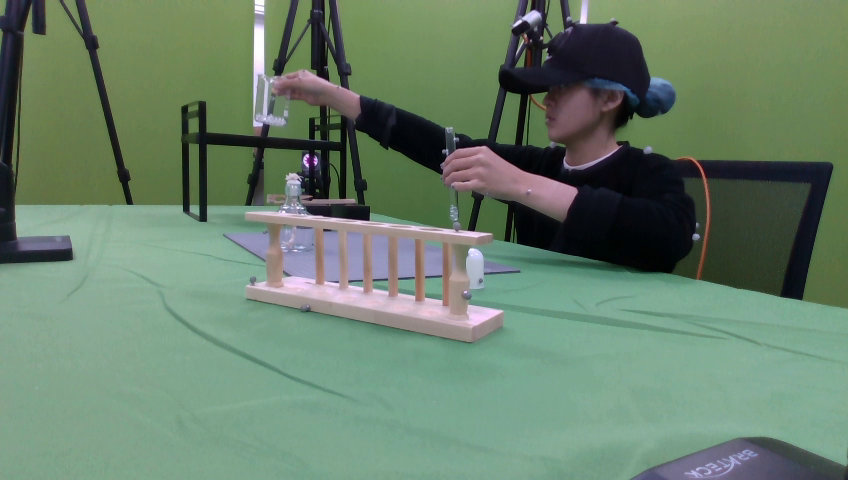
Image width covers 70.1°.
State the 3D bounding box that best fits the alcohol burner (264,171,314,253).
[{"bbox_3d":[-0.194,-0.042,0.888,0.078,0.119,0.078,3,5,0],"label":"alcohol burner"}]

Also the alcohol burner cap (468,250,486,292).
[{"bbox_3d":[0.056,0.035,0.690,0.034,0.048,0.034,2,7,0],"label":"alcohol burner cap"}]

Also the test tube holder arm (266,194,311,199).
[{"bbox_3d":[-0.261,-0.084,1.173,0.088,0.010,0.015,-2,2,-30],"label":"test tube holder arm"}]

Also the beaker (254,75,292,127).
[{"bbox_3d":[-0.330,-0.301,1.314,0.074,0.100,0.084,8,6,-1],"label":"beaker"}]

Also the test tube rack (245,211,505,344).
[{"bbox_3d":[-0.049,0.025,0.547,0.241,0.085,0.067,7,8,29],"label":"test tube rack"}]

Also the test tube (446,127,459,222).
[{"bbox_3d":[0.046,-0.104,0.959,0.017,0.150,0.017,-3,7,1],"label":"test tube"}]

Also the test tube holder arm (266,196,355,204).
[{"bbox_3d":[-0.222,-0.080,1.196,0.179,0.013,0.015,-3,3,-30],"label":"test tube holder arm"}]
